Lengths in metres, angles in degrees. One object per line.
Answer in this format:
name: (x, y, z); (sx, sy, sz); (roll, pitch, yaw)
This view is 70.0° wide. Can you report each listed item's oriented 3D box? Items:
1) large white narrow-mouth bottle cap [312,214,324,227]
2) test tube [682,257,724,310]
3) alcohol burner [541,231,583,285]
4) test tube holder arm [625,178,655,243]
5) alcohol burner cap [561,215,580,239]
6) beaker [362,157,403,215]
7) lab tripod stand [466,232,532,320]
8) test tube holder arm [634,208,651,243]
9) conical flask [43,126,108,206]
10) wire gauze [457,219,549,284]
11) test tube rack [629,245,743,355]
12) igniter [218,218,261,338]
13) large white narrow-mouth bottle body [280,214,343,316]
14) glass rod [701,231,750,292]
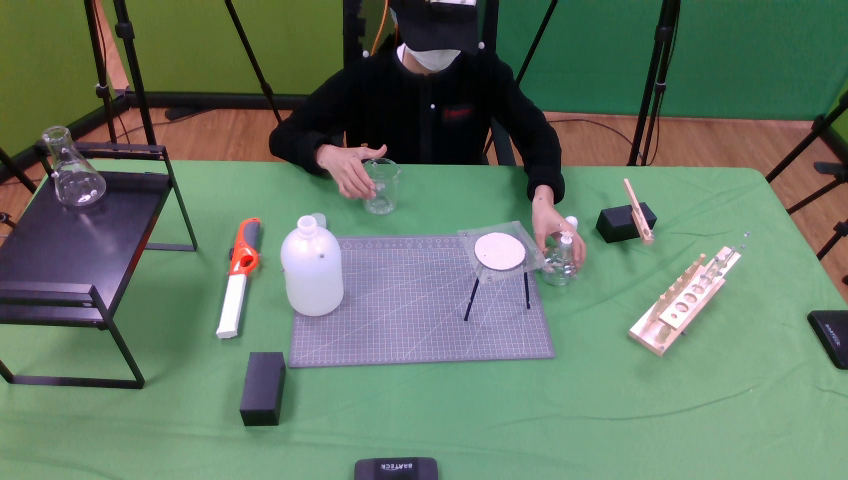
large white narrow-mouth bottle cap: (-0.219, -0.033, 1.214); (0.038, 0.024, 0.037); (2, 46, -2)
test tube: (0.475, 0.080, 1.037); (0.017, 0.151, 0.017); (2, 51, -2)
alcohol burner: (0.259, 0.028, 1.123); (0.078, 0.120, 0.077); (1, 47, -1)
test tube holder arm: (0.433, -0.062, 1.220); (0.013, 0.015, 0.177); (1, 47, -3)
alcohol burner cap: (0.299, -0.030, 1.230); (0.034, 0.048, 0.033); (0, 46, 0)
beaker: (-0.086, -0.108, 1.241); (0.084, 0.101, 0.073); (-8, 48, -13)
lab tripod stand: (0.125, 0.060, 1.065); (0.148, 0.132, 0.147); (1, 45, 0)
test tube holder arm: (0.428, -0.030, 1.189); (0.010, 0.015, 0.087); (1, 47, -2)
conical flask: (-0.555, -0.119, 0.953); (0.075, 0.122, 0.075); (2, 46, -2)
wire gauze: (0.131, 0.014, 1.016); (0.121, 0.011, 0.124); (-12, 47, -14)
test tube rack: (0.474, 0.095, 1.091); (0.242, 0.085, 0.066); (-34, 56, -31)
igniter: (-0.337, 0.060, 1.111); (0.057, 0.025, 0.274); (-8, 46, 4)
large white narrow-mouth bottle body: (-0.190, 0.035, 1.025); (0.102, 0.195, 0.101); (2, 46, -2)
glass rod: (0.519, 0.045, 1.050); (0.008, 0.201, 0.008); (0, 55, 0)
